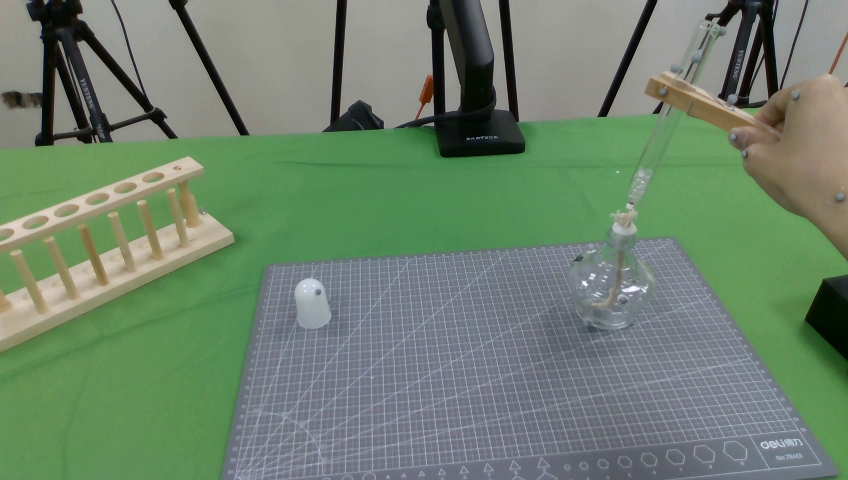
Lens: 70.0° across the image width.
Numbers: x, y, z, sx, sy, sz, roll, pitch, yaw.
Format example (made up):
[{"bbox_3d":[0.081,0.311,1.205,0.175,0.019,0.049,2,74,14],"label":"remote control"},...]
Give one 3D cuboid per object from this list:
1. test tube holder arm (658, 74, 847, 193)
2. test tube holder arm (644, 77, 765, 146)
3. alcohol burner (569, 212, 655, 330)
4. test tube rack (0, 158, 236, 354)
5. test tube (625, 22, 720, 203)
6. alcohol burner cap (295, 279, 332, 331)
[{"bbox_3d":[0.231,-0.069,0.408,0.013,0.015,0.176,-26,51,-30],"label":"test tube holder arm"},{"bbox_3d":[0.197,-0.092,0.428,0.087,0.015,0.010,35,49,28],"label":"test tube holder arm"},{"bbox_3d":[0.172,0.023,0.546,0.078,0.120,0.077,0,39,0],"label":"alcohol burner"},{"bbox_3d":[-0.322,0.007,0.611,0.242,0.086,0.066,-30,45,-33],"label":"test tube rack"},{"bbox_3d":[0.183,-0.089,0.456,0.017,0.151,0.017,6,40,-5],"label":"test tube"},{"bbox_3d":[-0.105,0.058,0.568,0.034,0.048,0.033,-1,37,1],"label":"alcohol burner cap"}]
